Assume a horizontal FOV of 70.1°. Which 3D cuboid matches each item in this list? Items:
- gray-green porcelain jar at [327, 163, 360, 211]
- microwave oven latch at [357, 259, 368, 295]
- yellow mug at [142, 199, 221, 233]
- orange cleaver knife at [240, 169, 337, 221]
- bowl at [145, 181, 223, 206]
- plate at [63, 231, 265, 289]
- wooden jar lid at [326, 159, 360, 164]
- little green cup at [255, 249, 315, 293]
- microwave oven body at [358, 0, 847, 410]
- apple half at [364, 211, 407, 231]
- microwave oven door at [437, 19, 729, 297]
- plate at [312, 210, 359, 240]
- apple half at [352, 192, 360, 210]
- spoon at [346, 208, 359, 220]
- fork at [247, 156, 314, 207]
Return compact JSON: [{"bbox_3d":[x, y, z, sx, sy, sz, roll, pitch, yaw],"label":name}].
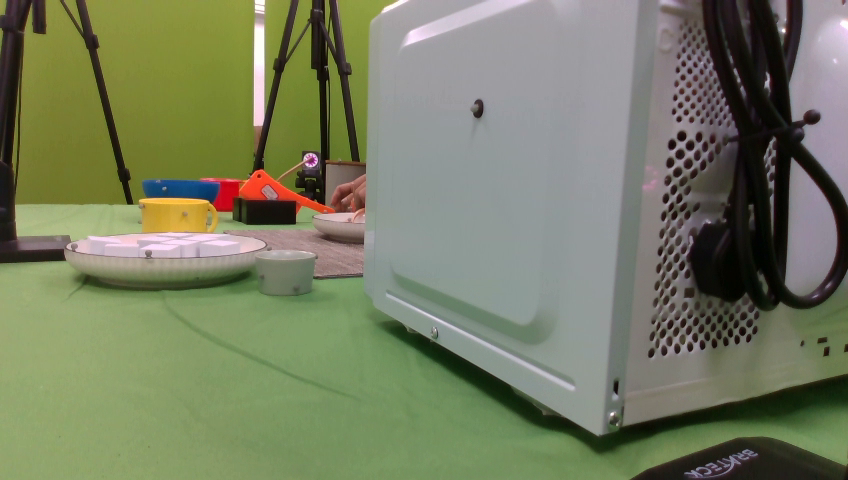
[{"bbox_3d":[-0.187,-0.125,1.490,0.106,0.126,0.106,2,8,0],"label":"gray-green porcelain jar"},{"bbox_3d":[-0.019,0.031,0.529,0.079,0.029,0.030,-1,7,-26],"label":"microwave oven latch"},{"bbox_3d":[-0.372,-0.030,0.948,0.099,0.064,0.131,5,7,30],"label":"yellow mug"},{"bbox_3d":[-0.287,-0.082,1.299,0.212,0.077,0.012,25,-2,-31],"label":"orange cleaver knife"},{"bbox_3d":[-0.499,-0.081,1.261,0.151,0.077,0.151,2,7,0],"label":"bowl"},{"bbox_3d":[-0.288,0.021,0.687,0.208,0.039,0.207,2,8,0],"label":"plate"},{"bbox_3d":[-0.185,-0.187,1.481,0.108,0.020,0.108,4,6,0],"label":"wooden jar lid"},{"bbox_3d":[-0.144,0.032,0.627,0.061,0.038,0.061,2,6,0],"label":"little green cup"},{"bbox_3d":[0.210,-0.051,0.471,0.444,0.260,0.324,-1,7,-28],"label":"microwave oven body"},{"bbox_3d":[-0.068,-0.037,1.103,0.081,0.033,0.081,-1,9,0],"label":"apple half"},{"bbox_3d":[0.180,-0.076,0.618,0.358,0.243,0.039,-2,8,-28],"label":"microwave oven door"},{"bbox_3d":[-0.091,-0.026,1.063,0.209,0.038,0.209,2,7,0],"label":"plate"},{"bbox_3d":[-0.105,-0.065,1.259,0.081,0.074,0.053,1,9,-32],"label":"apple half"},{"bbox_3d":[-0.123,-0.047,1.117,0.041,0.021,0.194,-10,16,19],"label":"spoon"},{"bbox_3d":[-0.360,-0.147,1.523,0.207,0.018,0.028,-43,14,-7],"label":"fork"}]
